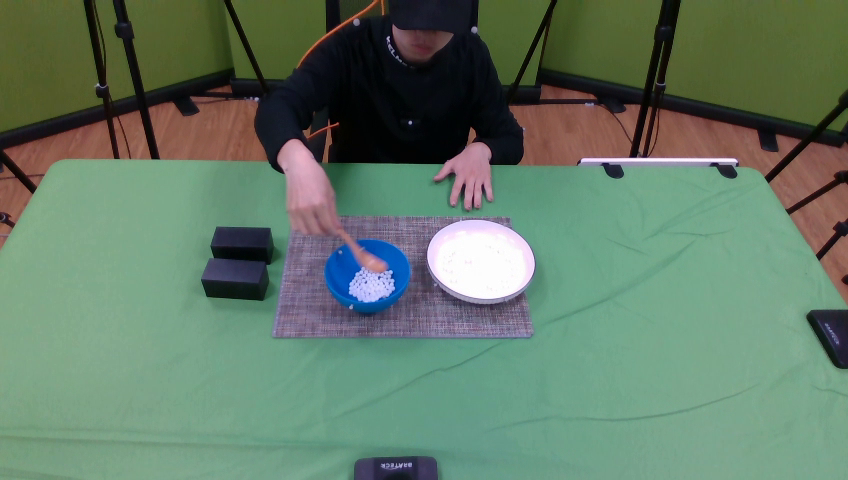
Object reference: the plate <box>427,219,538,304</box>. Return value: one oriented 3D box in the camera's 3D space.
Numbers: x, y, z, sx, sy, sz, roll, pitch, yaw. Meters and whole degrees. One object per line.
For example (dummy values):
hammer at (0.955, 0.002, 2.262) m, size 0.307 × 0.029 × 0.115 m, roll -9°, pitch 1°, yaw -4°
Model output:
plate at (0.109, 0.044, 1.149) m, size 0.208 × 0.039 × 0.206 m, roll 2°, pitch 46°, yaw -2°

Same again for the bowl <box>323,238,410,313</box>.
bowl at (-0.101, 0.077, 1.073) m, size 0.151 × 0.077 × 0.150 m, roll 2°, pitch 46°, yaw -2°

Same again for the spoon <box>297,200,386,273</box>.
spoon at (-0.143, -0.007, 1.047) m, size 0.193 × 0.021 × 0.041 m, roll 43°, pitch 34°, yaw 2°
